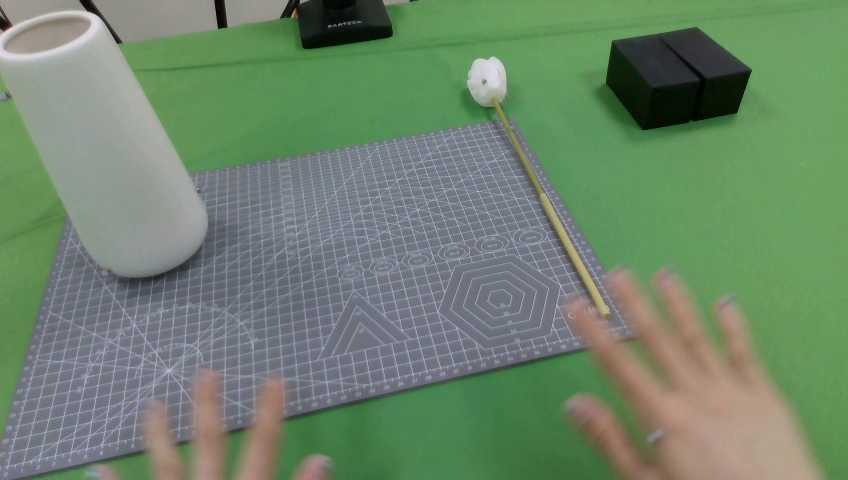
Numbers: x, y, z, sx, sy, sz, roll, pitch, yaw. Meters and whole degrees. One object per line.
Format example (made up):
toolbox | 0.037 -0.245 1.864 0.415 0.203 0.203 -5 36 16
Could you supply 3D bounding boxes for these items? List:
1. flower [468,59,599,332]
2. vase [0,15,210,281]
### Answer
flower | 0.099 -0.062 0.575 0.044 0.038 0.357 -31 46 20
vase | -0.237 -0.062 0.464 0.098 0.202 0.097 -2 43 2
